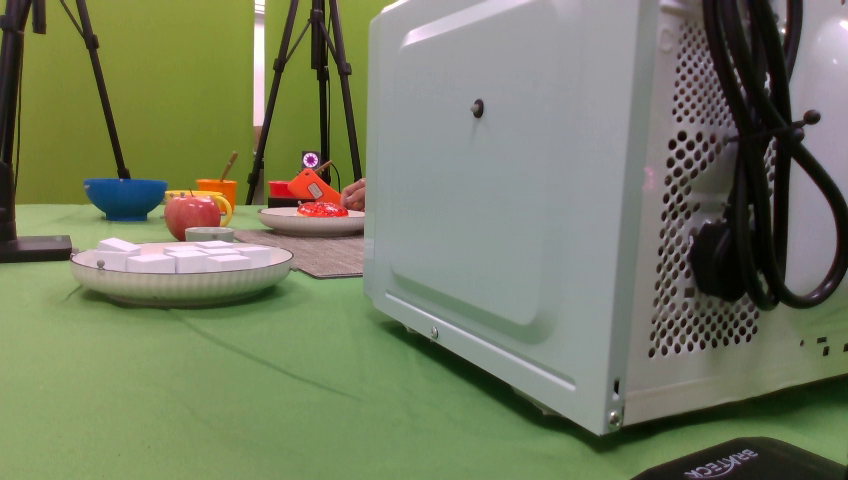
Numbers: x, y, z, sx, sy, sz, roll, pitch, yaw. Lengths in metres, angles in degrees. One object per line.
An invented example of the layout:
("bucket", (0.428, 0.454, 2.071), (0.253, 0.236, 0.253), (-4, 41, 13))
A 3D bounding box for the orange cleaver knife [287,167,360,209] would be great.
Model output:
("orange cleaver knife", (-0.209, -0.089, 1.383), (0.212, 0.077, 0.012), (31, 3, -15))

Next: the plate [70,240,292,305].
("plate", (-0.242, 0.031, 0.618), (0.208, 0.039, 0.207), (2, 8, 0))

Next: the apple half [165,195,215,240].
("apple half", (-0.377, -0.038, 0.965), (0.082, 0.081, 0.032), (-4, 15, -39))

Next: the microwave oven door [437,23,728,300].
("microwave oven door", (0.181, -0.072, 0.621), (0.358, 0.243, 0.039), (-2, 8, -29))

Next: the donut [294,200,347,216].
("donut", (-0.193, -0.049, 1.134), (0.099, 0.048, 0.099), (4, 8, 0))

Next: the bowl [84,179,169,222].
("bowl", (-0.584, -0.078, 1.194), (0.151, 0.077, 0.151), (3, 8, 0))

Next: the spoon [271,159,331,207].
("spoon", (-0.307, -0.141, 1.514), (0.193, 0.021, 0.041), (-41, 4, 8))

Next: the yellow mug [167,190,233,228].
("yellow mug", (-0.415, -0.057, 1.132), (0.130, 0.064, 0.100), (6, 8, 16))

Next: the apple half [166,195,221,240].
("apple half", (-0.352, -0.031, 0.935), (0.081, 0.074, 0.053), (1, 11, -40))

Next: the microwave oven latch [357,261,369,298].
("microwave oven latch", (-0.019, 0.033, 0.530), (0.079, 0.029, 0.030), (-1, 7, -26))

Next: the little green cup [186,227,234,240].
("little green cup", (-0.285, 0.005, 0.805), (0.061, 0.038, 0.061), (2, 8, 0))

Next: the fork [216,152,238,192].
("fork", (-0.455, -0.132, 1.367), (0.028, 0.018, 0.207), (-2, -35, -37))

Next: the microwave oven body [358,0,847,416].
("microwave oven body", (0.211, -0.047, 0.474), (0.444, 0.260, 0.324), (-1, 7, -28))

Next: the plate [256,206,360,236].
("plate", (-0.202, -0.037, 1.120), (0.209, 0.038, 0.209), (2, 8, 0))
